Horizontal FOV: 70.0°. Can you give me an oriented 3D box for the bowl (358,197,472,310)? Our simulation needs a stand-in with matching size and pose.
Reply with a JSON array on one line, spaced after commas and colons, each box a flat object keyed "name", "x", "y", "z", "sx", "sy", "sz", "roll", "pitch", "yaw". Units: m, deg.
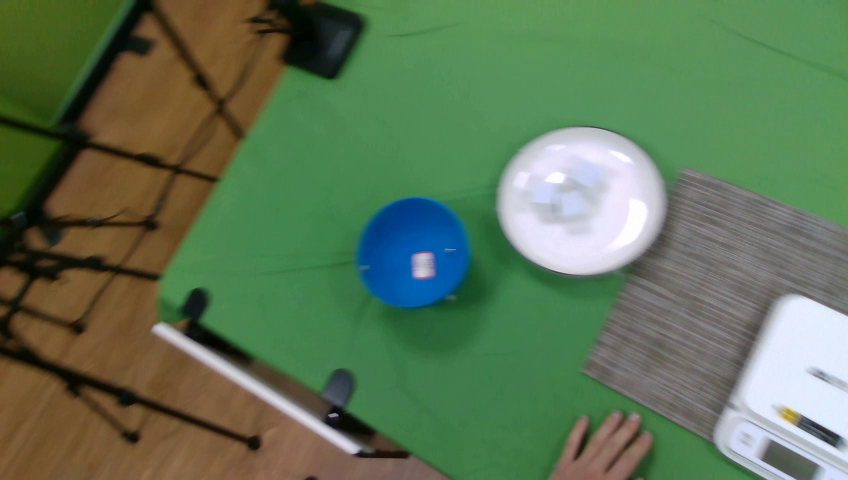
[{"name": "bowl", "x": -0.004, "y": 0.026, "z": 0.810, "sx": 0.151, "sy": 0.077, "sz": 0.150, "roll": -5, "pitch": 71, "yaw": 15}]

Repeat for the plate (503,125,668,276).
[{"name": "plate", "x": 0.210, "y": -0.050, "z": 0.797, "sx": 0.207, "sy": 0.039, "sz": 0.206, "roll": -5, "pitch": 71, "yaw": 14}]

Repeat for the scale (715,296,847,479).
[{"name": "scale", "x": 0.429, "y": 0.174, "z": 0.660, "sx": 0.147, "sy": 0.032, "sz": 0.200, "roll": 27, "pitch": 82, "yaw": 23}]
